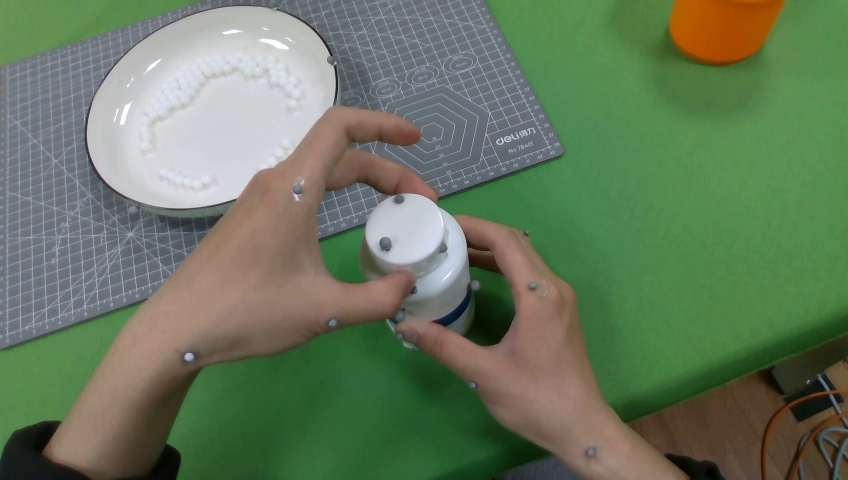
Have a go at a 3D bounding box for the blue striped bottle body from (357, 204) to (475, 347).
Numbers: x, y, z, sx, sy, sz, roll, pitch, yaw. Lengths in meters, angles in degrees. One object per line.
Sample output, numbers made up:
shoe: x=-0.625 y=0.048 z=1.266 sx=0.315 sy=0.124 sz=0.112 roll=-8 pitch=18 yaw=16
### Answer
blue striped bottle body: x=-0.003 y=0.019 z=0.370 sx=0.063 sy=0.122 sz=0.062 roll=-3 pitch=62 yaw=7

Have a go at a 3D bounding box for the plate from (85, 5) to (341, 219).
plate: x=-0.167 y=-0.105 z=0.497 sx=0.207 sy=0.039 sz=0.206 roll=-3 pitch=63 yaw=6

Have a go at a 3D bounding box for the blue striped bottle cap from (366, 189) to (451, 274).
blue striped bottle cap: x=-0.008 y=-0.005 z=0.325 sx=0.044 sy=0.021 sz=0.044 roll=-4 pitch=62 yaw=8
